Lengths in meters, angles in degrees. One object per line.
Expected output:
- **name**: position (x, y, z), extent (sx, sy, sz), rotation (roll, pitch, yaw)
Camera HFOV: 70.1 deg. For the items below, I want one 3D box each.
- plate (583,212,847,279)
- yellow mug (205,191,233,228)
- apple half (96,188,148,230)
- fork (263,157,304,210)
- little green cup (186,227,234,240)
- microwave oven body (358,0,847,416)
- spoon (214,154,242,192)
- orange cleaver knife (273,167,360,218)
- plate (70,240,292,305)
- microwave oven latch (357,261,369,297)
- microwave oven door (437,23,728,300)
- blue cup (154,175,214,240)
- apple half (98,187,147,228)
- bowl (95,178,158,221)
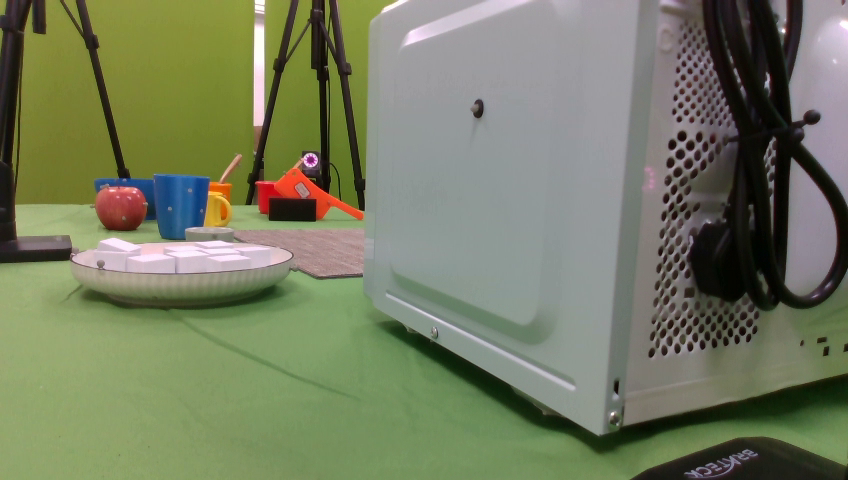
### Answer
- **plate**: position (0.239, 0.001, 0.510), extent (0.209, 0.038, 0.209), rotation (2, 7, 0)
- **yellow mug**: position (-0.415, -0.057, 1.132), extent (0.130, 0.064, 0.100), rotation (6, 8, 16)
- **apple half**: position (-0.517, -0.052, 1.036), extent (0.081, 0.074, 0.053), rotation (3, 10, -26)
- **fork**: position (-0.345, -0.143, 1.505), extent (0.028, 0.019, 0.207), rotation (-5, 45, 29)
- **little green cup**: position (-0.284, 0.005, 0.805), extent (0.061, 0.038, 0.061), rotation (2, 8, 0)
- **microwave oven body**: position (0.211, -0.047, 0.474), extent (0.444, 0.260, 0.324), rotation (-1, 7, -28)
- **spoon**: position (-0.439, -0.124, 1.317), extent (0.041, 0.193, 0.022), rotation (5, -36, 16)
- **orange cleaver knife**: position (-0.238, -0.091, 1.381), extent (0.212, 0.077, 0.012), rotation (31, 0, -19)
- **plate**: position (-0.242, 0.031, 0.618), extent (0.208, 0.039, 0.207), rotation (2, 8, 0)
- **microwave oven latch**: position (-0.019, 0.033, 0.530), extent (0.079, 0.029, 0.030), rotation (-1, 7, -27)
- **microwave oven door**: position (0.181, -0.072, 0.621), extent (0.358, 0.243, 0.039), rotation (-2, 8, -29)
- **blue cup**: position (-0.390, -0.053, 0.978), extent (0.093, 0.100, 0.092), rotation (3, 6, 0)
- **apple half**: position (-0.533, -0.059, 1.071), extent (0.082, 0.081, 0.032), rotation (-1, 11, -25)
- **bowl**: position (-0.576, -0.081, 1.217), extent (0.151, 0.077, 0.151), rotation (3, 8, 0)
